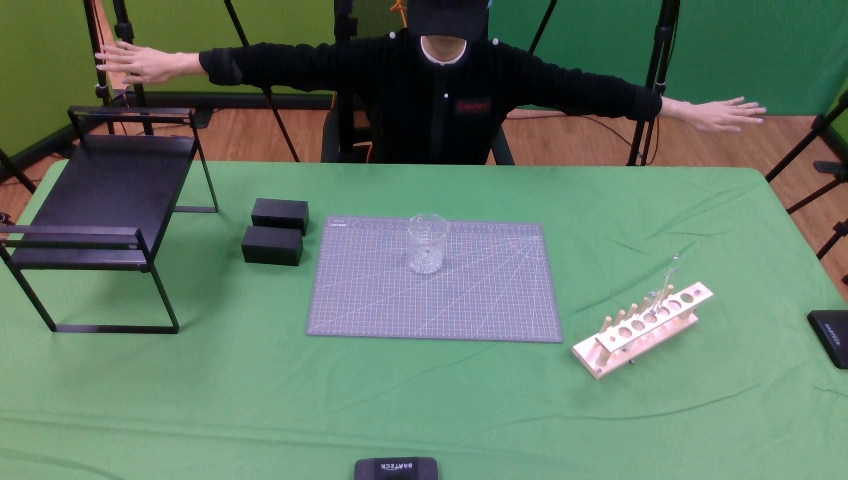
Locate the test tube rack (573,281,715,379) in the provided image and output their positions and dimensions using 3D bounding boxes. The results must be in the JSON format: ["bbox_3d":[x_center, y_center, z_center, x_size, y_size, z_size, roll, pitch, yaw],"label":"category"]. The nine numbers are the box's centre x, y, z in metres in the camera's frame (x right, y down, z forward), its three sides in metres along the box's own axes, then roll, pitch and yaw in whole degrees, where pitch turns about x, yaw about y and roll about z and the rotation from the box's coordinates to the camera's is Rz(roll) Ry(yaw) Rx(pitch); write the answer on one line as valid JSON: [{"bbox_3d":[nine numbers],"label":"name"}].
[{"bbox_3d":[0.378,0.140,1.038,0.242,0.085,0.066,-22,51,-23],"label":"test tube rack"}]

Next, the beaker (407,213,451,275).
[{"bbox_3d":[0.008,0.009,1.128,0.084,0.101,0.073,-11,48,-15],"label":"beaker"}]

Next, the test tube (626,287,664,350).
[{"bbox_3d":[0.354,0.130,0.978,0.017,0.151,0.017,3,44,-3],"label":"test tube"}]

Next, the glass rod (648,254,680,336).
[{"bbox_3d":[0.391,0.094,0.991,0.008,0.201,0.008,-2,44,2],"label":"glass rod"}]
